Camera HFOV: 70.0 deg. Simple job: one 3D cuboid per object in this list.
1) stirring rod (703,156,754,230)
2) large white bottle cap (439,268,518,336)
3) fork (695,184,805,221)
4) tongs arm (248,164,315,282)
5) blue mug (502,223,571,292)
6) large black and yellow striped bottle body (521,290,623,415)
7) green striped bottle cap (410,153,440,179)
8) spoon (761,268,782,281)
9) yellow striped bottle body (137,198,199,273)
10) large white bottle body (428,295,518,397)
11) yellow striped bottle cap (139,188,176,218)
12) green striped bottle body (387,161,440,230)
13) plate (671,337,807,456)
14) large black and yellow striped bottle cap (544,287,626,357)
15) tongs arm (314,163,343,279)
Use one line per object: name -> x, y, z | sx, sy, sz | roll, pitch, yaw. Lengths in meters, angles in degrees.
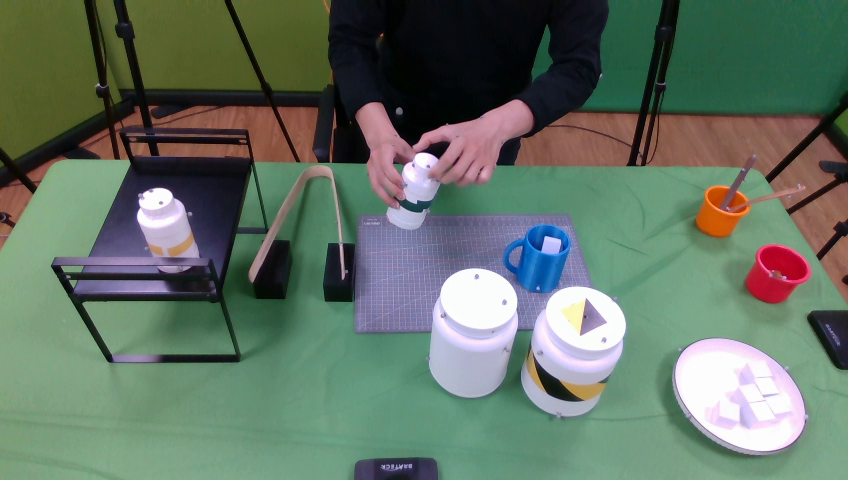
stirring rod -> 0.631, -0.098, 1.258 | 0.014, 0.006, 0.176 | 33, 95, 27
large white bottle cap -> 0.080, 0.089, 0.888 | 0.115, 0.018, 0.114 | 2, 47, -2
fork -> 0.657, -0.075, 1.230 | 0.207, 0.019, 0.028 | -23, 34, 37
tongs arm -> -0.269, -0.047, 1.166 | 0.028, 0.028, 0.385 | -1, 34, 7
blue mug -> 0.202, 0.031, 1.121 | 0.116, 0.106, 0.082 | 5, 47, 1
large black and yellow striped bottle body -> 0.228, 0.173, 0.937 | 0.131, 0.185, 0.130 | 2, 47, -2
green striped bottle cap -> 0.002, -0.114, 0.927 | 0.044, 0.020, 0.044 | 16, 37, -12
spoon -> 0.638, 0.060, 1.105 | 0.041, 0.021, 0.194 | 38, 11, 24
yellow striped bottle body -> -0.366, -0.014, 0.864 | 0.063, 0.121, 0.062 | 2, 46, -2
large white bottle body -> 0.075, 0.147, 0.950 | 0.131, 0.185, 0.130 | 2, 47, -2
yellow striped bottle cap -> -0.363, -0.051, 0.826 | 0.044, 0.019, 0.044 | 1, 47, 0
green striped bottle body -> -0.015, -0.078, 0.962 | 0.063, 0.119, 0.063 | 13, 43, -12
plate -> 0.504, 0.253, 0.984 | 0.208, 0.039, 0.206 | 2, 46, -2
large black and yellow striped bottle cap -> 0.232, 0.116, 0.876 | 0.115, 0.019, 0.114 | 2, 46, -1
tongs arm -> -0.188, -0.049, 1.170 | 0.051, 0.026, 0.382 | -6, 35, -6
